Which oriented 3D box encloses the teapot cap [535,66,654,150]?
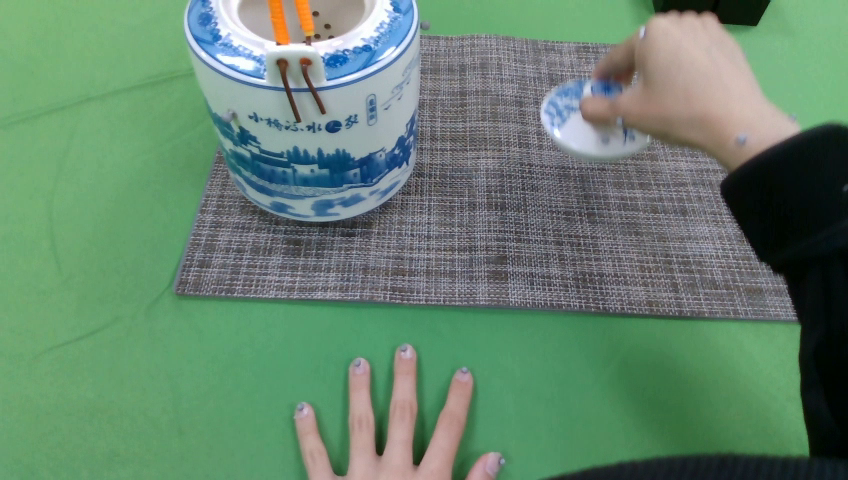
[{"bbox_3d":[0.124,-0.101,0.439,0.085,0.044,0.084,-2,52,3],"label":"teapot cap"}]

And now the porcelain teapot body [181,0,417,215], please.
[{"bbox_3d":[-0.079,-0.152,0.410,0.145,0.227,0.203,-3,55,-5],"label":"porcelain teapot body"}]
